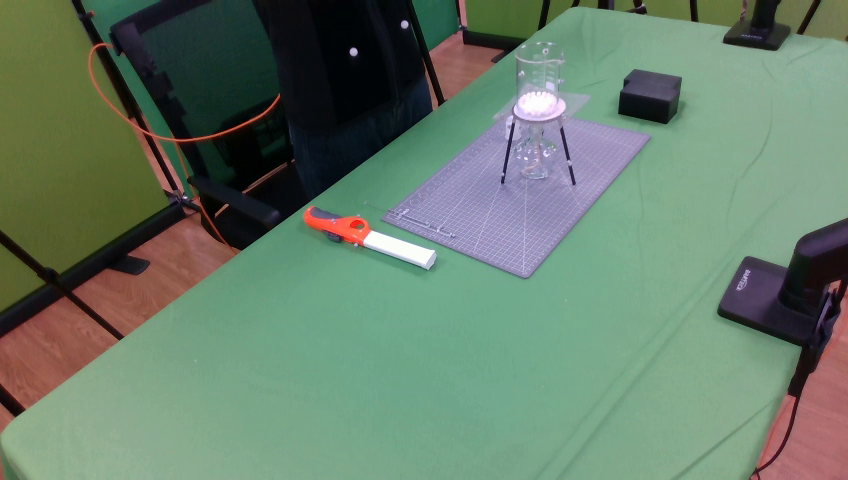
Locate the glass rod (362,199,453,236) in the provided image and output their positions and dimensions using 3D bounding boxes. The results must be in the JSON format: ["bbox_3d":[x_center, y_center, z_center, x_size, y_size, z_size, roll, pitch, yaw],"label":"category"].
[{"bbox_3d":[-0.031,-0.041,1.041,0.198,0.008,0.008,22,50,31],"label":"glass rod"}]

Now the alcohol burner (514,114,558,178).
[{"bbox_3d":[0.198,-0.170,1.069,0.078,0.119,0.077,-4,40,4],"label":"alcohol burner"}]

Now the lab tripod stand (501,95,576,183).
[{"bbox_3d":[0.204,-0.174,1.057,0.148,0.132,0.147,-4,40,4],"label":"lab tripod stand"}]

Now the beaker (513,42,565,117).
[{"bbox_3d":[0.187,-0.257,0.981,0.083,0.101,0.074,21,49,29],"label":"beaker"}]

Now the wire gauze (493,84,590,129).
[{"bbox_3d":[0.197,-0.223,1.013,0.120,0.011,0.125,21,47,28],"label":"wire gauze"}]

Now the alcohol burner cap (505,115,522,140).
[{"bbox_3d":[0.175,-0.223,1.192,0.034,0.048,0.033,-6,40,5],"label":"alcohol burner cap"}]

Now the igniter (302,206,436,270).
[{"bbox_3d":[-0.101,-0.007,1.004,0.274,0.025,0.057,19,58,29],"label":"igniter"}]
